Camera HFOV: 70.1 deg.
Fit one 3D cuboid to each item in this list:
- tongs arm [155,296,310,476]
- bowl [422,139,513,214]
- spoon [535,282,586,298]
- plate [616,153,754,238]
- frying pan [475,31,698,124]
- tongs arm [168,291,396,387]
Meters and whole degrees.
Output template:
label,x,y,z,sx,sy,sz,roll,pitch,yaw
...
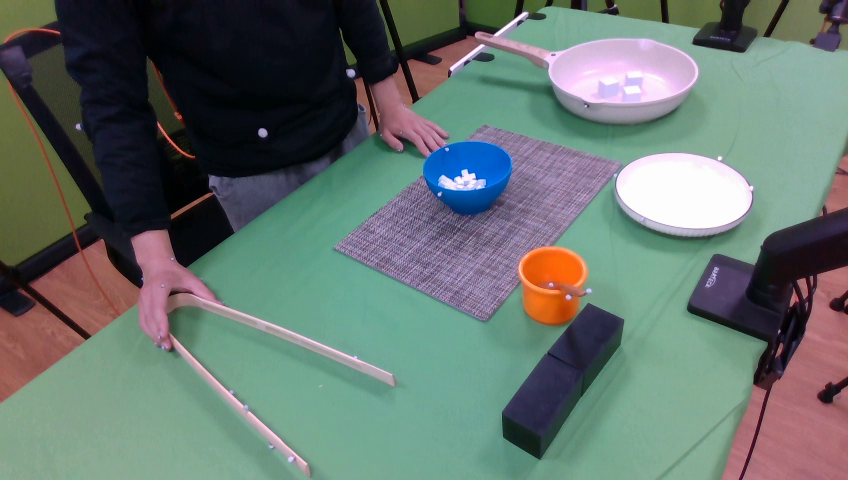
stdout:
label,x,y,z,sx,sy,sz,roll,pitch,yaw
tongs arm,-0.256,0.175,0.790,0.381,0.026,0.051,26,50,34
bowl,0.075,-0.097,1.021,0.151,0.077,0.150,-4,41,4
spoon,0.176,0.063,0.774,0.041,0.194,0.021,-3,85,1
plate,0.416,-0.069,0.977,0.207,0.039,0.206,-4,40,4
frying pan,0.320,-0.371,1.290,0.485,0.103,0.307,28,50,23
tongs arm,-0.206,0.132,0.839,0.385,0.028,0.028,16,48,24
